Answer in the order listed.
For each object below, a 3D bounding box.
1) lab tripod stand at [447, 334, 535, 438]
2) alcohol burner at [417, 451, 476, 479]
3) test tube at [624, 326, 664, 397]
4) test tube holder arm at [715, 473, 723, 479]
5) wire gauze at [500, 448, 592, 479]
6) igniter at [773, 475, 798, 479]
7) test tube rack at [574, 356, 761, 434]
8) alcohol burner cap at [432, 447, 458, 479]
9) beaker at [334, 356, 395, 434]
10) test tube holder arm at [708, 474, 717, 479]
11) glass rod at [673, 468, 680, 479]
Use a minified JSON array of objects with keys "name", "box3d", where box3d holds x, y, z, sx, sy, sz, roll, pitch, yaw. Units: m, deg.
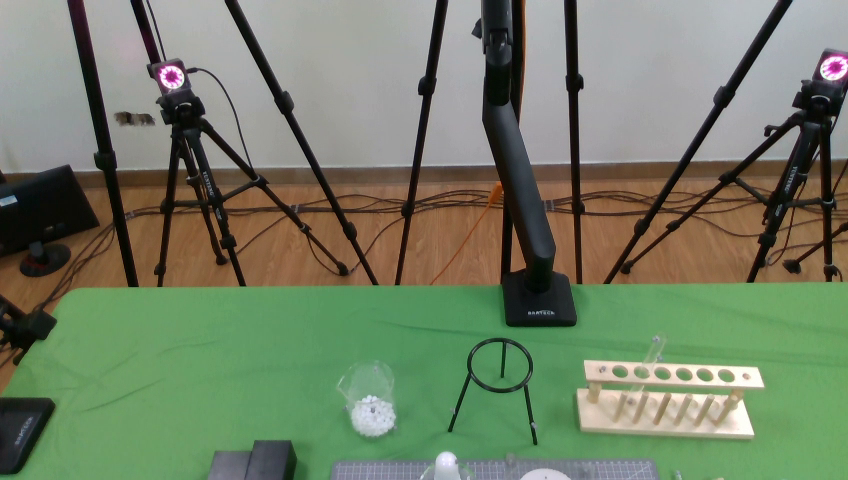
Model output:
[{"name":"lab tripod stand","box3d":[0.100,0.211,0.864,0.148,0.133,0.147,-1,45,2]},{"name":"alcohol burner","box3d":[0.028,0.304,0.776,0.078,0.120,0.077,-3,43,3]},{"name":"test tube","box3d":[0.309,0.175,0.856,0.017,0.151,0.017,2,42,-1]},{"name":"test tube holder arm","box3d":[0.390,0.378,0.753,0.013,0.015,0.176,-27,36,26]},{"name":"wire gauze","box3d":[0.163,0.341,0.810,0.125,0.011,0.120,7,45,9]},{"name":"igniter","box3d":[0.463,0.411,0.709,0.057,0.025,0.274,12,44,0]},{"name":"test tube rack","box3d":[0.347,0.224,0.874,0.242,0.086,0.066,1,43,4]},{"name":"alcohol burner cap","box3d":[0.026,0.277,0.752,0.034,0.048,0.033,-1,37,1]},{"name":"beaker","box3d":[-0.082,0.228,0.878,0.084,0.101,0.073,-7,43,-4]},{"name":"test tube holder arm","box3d":[0.388,0.349,0.788,0.010,0.015,0.087,-26,36,27]},{"name":"glass rod","box3d":[0.333,0.383,0.759,0.008,0.008,0.198,3,45,6]}]
